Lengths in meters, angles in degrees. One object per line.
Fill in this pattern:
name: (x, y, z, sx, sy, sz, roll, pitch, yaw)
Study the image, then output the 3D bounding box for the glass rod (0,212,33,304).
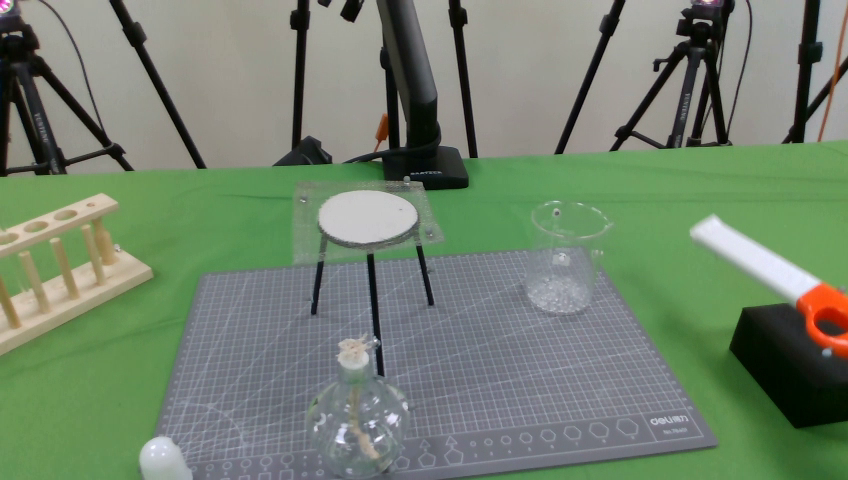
glass rod: (-0.393, -0.017, 0.560, 0.008, 0.201, 0.008, 4, 35, -3)

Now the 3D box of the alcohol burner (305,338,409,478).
alcohol burner: (-0.049, 0.118, 0.448, 0.078, 0.120, 0.077, 2, 32, -1)

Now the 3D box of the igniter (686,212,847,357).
igniter: (0.320, 0.051, 0.492, 0.057, 0.025, 0.273, -33, 37, -3)

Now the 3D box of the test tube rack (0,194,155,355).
test tube rack: (-0.398, 0.046, 0.585, 0.066, 0.086, 0.242, 23, 39, 31)

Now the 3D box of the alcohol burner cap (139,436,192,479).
alcohol burner cap: (-0.190, 0.163, 0.442, 0.034, 0.048, 0.033, 2, 33, -1)

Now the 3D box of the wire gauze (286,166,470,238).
wire gauze: (-0.041, -0.032, 0.510, 0.125, 0.011, 0.120, -9, 30, -29)

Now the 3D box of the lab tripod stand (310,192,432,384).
lab tripod stand: (-0.047, 0.036, 0.558, 0.148, 0.132, 0.147, 2, 34, -1)

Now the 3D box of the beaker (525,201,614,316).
beaker: (0.144, 0.021, 0.617, 0.084, 0.101, 0.073, 0, 33, -1)
